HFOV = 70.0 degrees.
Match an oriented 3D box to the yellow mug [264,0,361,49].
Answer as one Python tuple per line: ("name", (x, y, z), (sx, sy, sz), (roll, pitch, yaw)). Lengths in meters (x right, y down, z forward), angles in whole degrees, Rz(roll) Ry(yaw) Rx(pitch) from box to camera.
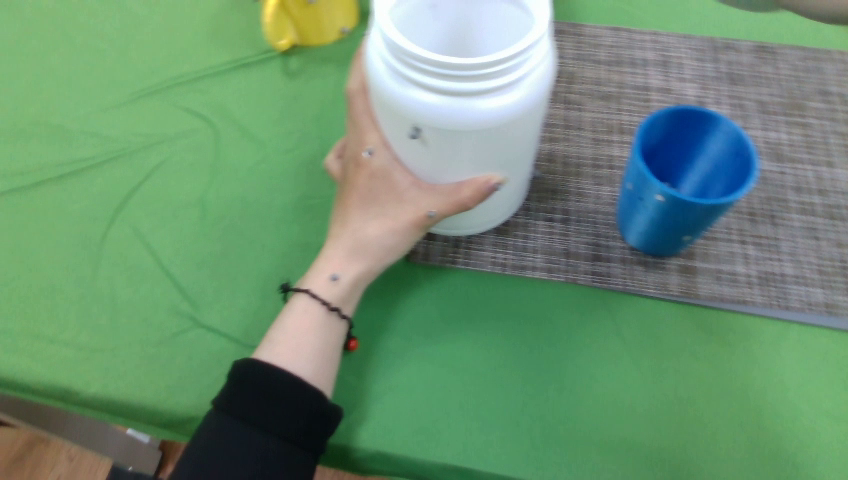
("yellow mug", (-0.121, -0.244, 0.598), (0.099, 0.064, 0.130), (19, 63, 10))

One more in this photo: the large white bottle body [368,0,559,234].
("large white bottle body", (0.026, -0.103, 0.448), (0.130, 0.186, 0.129), (0, 60, 0))

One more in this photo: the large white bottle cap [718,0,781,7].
("large white bottle cap", (0.195, -0.199, 0.385), (0.115, 0.018, 0.114), (4, 68, -10))

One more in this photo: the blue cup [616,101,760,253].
("blue cup", (0.189, -0.039, 0.462), (0.092, 0.101, 0.092), (0, 61, 1))

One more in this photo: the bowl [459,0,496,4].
("bowl", (0.056, -0.301, 0.626), (0.151, 0.077, 0.150), (0, 60, 0))
